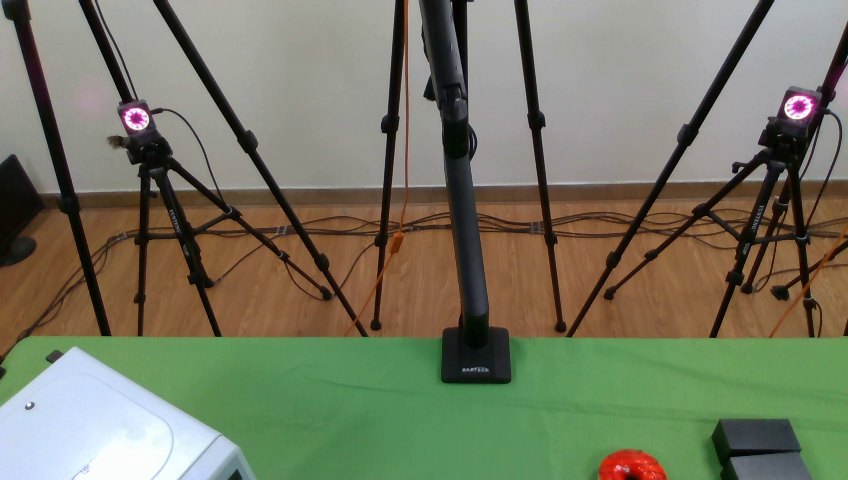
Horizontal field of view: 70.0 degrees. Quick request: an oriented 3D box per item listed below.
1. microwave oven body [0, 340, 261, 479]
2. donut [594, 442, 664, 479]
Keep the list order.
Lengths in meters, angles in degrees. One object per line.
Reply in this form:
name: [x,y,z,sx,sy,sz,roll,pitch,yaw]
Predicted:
microwave oven body: [-0.450,0.394,0.704,0.324,0.262,0.440,20,49,23]
donut: [0.294,0.337,0.871,0.099,0.049,0.098,-5,40,4]
